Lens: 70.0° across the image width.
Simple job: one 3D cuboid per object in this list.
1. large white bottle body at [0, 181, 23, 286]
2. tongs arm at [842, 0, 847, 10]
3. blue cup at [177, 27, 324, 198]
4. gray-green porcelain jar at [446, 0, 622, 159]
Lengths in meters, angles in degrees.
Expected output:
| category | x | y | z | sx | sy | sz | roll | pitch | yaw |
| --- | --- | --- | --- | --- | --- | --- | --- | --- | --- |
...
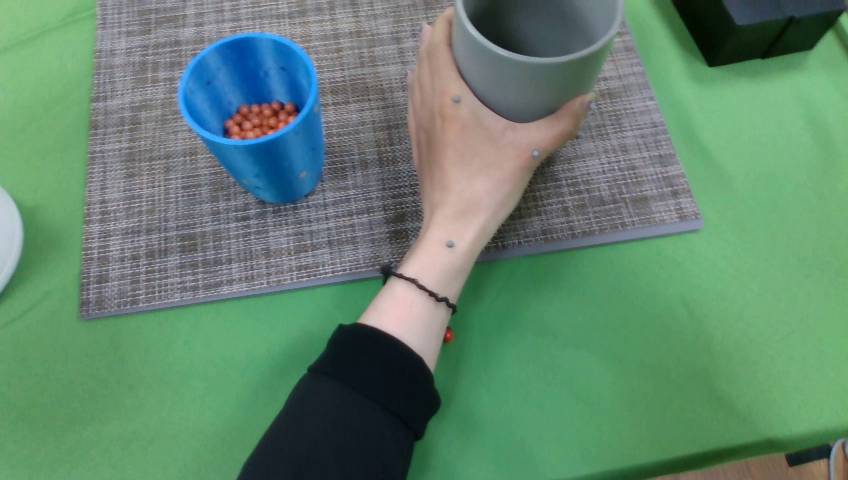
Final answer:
| category | x | y | z | sx | sy | sz | roll | pitch | yaw |
| --- | --- | --- | --- | --- | --- | --- | --- | --- | --- |
| large white bottle body | -0.345 | -0.029 | 0.344 | 0.131 | 0.186 | 0.129 | 1 | 66 | -2 |
| tongs arm | 0.415 | -0.116 | 0.491 | 0.051 | 0.026 | 0.381 | -6 | 67 | -10 |
| blue cup | -0.108 | -0.077 | 0.416 | 0.092 | 0.101 | 0.092 | 0 | 67 | 0 |
| gray-green porcelain jar | 0.069 | -0.127 | 0.430 | 0.106 | 0.127 | 0.105 | 1 | 66 | -1 |
